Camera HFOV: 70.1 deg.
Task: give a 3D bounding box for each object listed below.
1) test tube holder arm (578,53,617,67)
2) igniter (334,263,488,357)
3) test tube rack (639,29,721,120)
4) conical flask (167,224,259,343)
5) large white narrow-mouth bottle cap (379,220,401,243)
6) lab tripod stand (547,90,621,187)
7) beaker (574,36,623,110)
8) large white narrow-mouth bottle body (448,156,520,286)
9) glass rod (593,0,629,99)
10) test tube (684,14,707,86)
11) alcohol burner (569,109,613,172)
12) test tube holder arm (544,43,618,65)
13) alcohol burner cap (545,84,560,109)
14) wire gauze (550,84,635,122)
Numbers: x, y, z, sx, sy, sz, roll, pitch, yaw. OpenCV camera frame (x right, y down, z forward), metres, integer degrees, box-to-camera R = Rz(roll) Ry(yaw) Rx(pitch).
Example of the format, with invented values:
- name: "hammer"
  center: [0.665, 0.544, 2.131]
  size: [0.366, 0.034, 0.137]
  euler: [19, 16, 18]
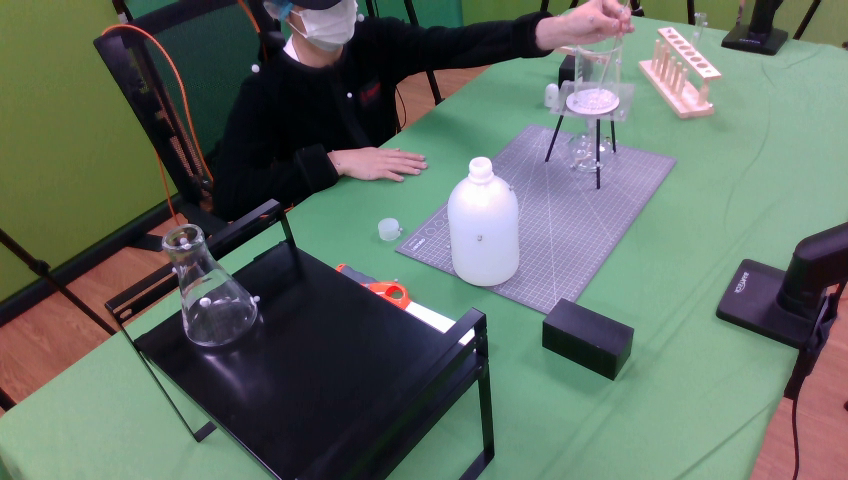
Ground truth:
- name: "test tube holder arm"
  center: [0.376, -0.394, 1.314]
  size: [0.087, 0.015, 0.010]
  euler: [26, 50, 32]
- name: "igniter"
  center: [-0.030, 0.095, 0.872]
  size: [0.274, 0.025, 0.057]
  euler: [23, 60, 31]
- name: "test tube rack"
  center: [0.527, -0.351, 1.262]
  size: [0.067, 0.085, 0.241]
  euler: [-8, 40, 1]
- name: "conical flask"
  center: [-0.220, 0.041, 0.613]
  size: [0.075, 0.122, 0.075]
  euler: [-5, 40, 4]
- name: "large white narrow-mouth bottle cap"
  center: [-0.057, -0.015, 1.011]
  size: [0.038, 0.024, 0.037]
  euler: [-4, 40, 4]
- name: "lab tripod stand"
  center: [0.289, -0.184, 1.062]
  size: [0.148, 0.132, 0.147]
  euler: [-6, 41, 6]
- name: "beaker"
  center: [0.285, -0.273, 0.990]
  size: [0.073, 0.101, 0.084]
  euler: [15, 46, 27]
- name: "large white narrow-mouth bottle body"
  center: [0.086, -0.032, 0.869]
  size: [0.102, 0.195, 0.101]
  euler: [-4, 40, 4]
- name: "glass rod"
  center: [0.296, -0.308, 0.949]
  size: [0.008, 0.200, 0.008]
  euler: [3, 46, -3]
- name: "test tube"
  center: [0.541, -0.379, 1.216]
  size: [0.017, 0.151, 0.017]
  euler: [-2, 44, 3]
- name: "alcohol burner"
  center: [0.297, -0.181, 1.073]
  size: [0.078, 0.119, 0.077]
  euler: [-5, 43, 5]
- name: "test tube holder arm"
  center: [0.345, -0.413, 1.341]
  size: [0.177, 0.015, 0.013]
  euler: [25, 50, 32]
- name: "alcohol burner cap"
  center: [0.274, -0.307, 1.285]
  size: [0.034, 0.048, 0.033]
  euler: [-5, 42, 5]
- name: "wire gauze"
  center: [0.285, -0.234, 1.021]
  size: [0.124, 0.011, 0.121]
  euler: [8, 41, 24]
